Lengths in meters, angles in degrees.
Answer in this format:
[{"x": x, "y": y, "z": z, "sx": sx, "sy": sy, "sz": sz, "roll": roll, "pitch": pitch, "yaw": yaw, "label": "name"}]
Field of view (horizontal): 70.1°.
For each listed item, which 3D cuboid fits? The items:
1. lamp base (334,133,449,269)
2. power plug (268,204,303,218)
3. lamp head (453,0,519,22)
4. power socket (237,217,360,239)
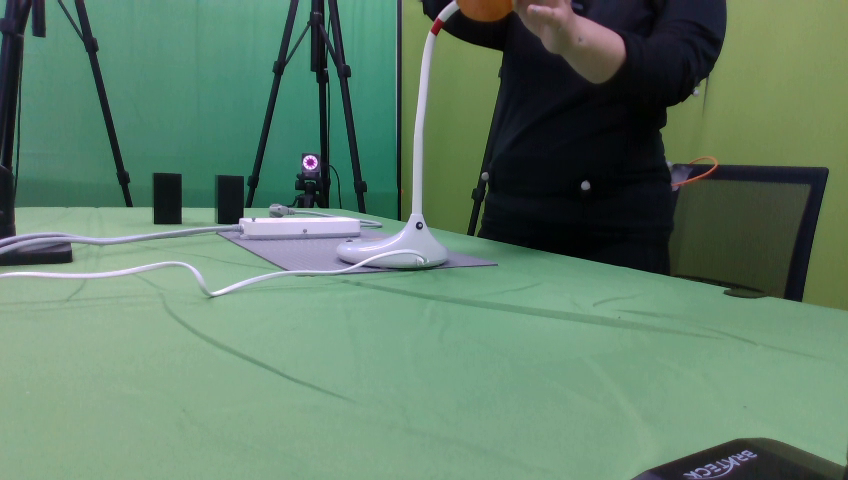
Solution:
[{"x": -0.034, "y": -0.057, "z": 0.831, "sx": 0.161, "sy": 0.180, "sz": 0.178, "roll": -3, "pitch": 12, "yaw": -36, "label": "lamp base"}, {"x": -0.327, "y": -0.060, "z": 1.404, "sx": 0.073, "sy": 0.035, "sz": 0.052, "roll": 22, "pitch": -14, "yaw": -25, "label": "power plug"}, {"x": 0.071, "y": -0.319, "z": 0.705, "sx": 0.112, "sy": 0.122, "sz": 0.112, "roll": 8, "pitch": -2, "yaw": 1, "label": "lamp head"}, {"x": -0.221, "y": -0.023, "z": 1.080, "sx": 0.228, "sy": 0.032, "sz": 0.072, "roll": -2, "pitch": 8, "yaw": -32, "label": "power socket"}]
